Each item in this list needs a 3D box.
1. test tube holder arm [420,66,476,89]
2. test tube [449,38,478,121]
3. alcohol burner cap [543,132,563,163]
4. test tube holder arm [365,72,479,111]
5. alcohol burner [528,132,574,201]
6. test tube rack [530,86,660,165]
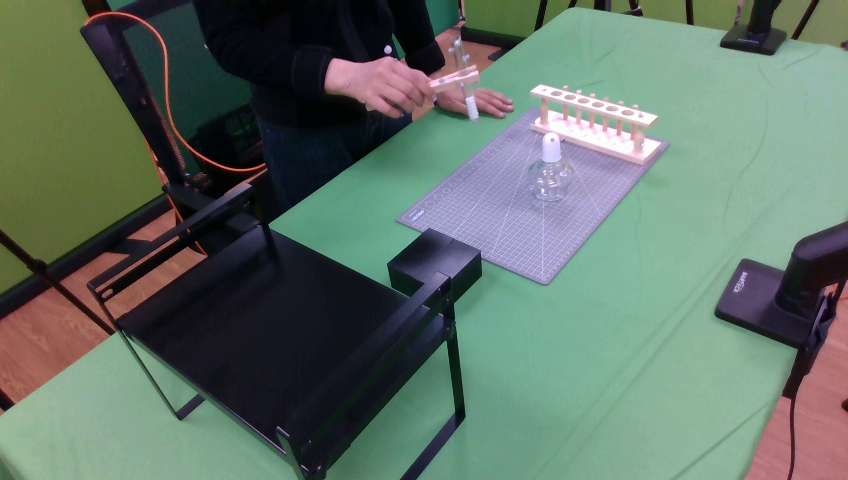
[{"bbox_3d":[0.038,-0.243,0.921,0.088,0.015,0.010,-20,48,1],"label":"test tube holder arm"},{"bbox_3d":[0.062,-0.241,0.922,0.017,0.151,0.017,-9,50,11],"label":"test tube"},{"bbox_3d":[0.211,-0.154,0.994,0.034,0.048,0.033,-7,35,6],"label":"alcohol burner cap"},{"bbox_3d":[-0.004,-0.226,0.922,0.178,0.015,0.013,-14,48,7],"label":"test tube holder arm"},{"bbox_3d":[0.214,-0.126,1.016,0.078,0.119,0.077,-5,38,5],"label":"alcohol burner"},{"bbox_3d":[0.320,-0.226,1.140,0.240,0.085,0.067,27,51,34],"label":"test tube rack"}]
